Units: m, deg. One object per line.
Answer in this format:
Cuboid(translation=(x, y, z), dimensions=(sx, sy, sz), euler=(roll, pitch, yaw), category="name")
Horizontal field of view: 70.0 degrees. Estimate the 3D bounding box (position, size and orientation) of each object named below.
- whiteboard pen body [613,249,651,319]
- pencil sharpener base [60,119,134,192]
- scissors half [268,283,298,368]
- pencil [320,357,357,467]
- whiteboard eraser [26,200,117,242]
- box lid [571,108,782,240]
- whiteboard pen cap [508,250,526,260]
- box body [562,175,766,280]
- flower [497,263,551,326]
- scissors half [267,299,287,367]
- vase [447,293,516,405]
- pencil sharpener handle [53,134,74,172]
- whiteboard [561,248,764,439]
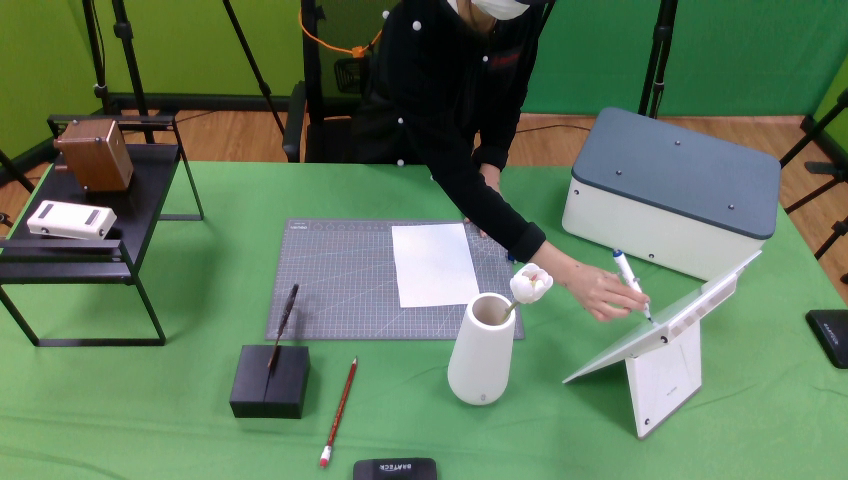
Cuboid(translation=(0.334, 0.073, 0.965), dimensions=(0.017, 0.141, 0.017), euler=(-28, 20, 11), category="whiteboard pen body")
Cuboid(translation=(-0.528, -0.135, 0.979), dimensions=(0.077, 0.107, 0.061), euler=(-4, 47, -7), category="pencil sharpener base")
Cuboid(translation=(-0.230, 0.135, 0.986), dimensions=(0.013, 0.040, 0.174), euler=(19, 43, -11), category="scissors half")
Cuboid(translation=(-0.130, 0.261, 0.947), dimensions=(0.012, 0.012, 0.193), euler=(10, 45, 5), category="pencil")
Cuboid(translation=(-0.532, -0.026, 0.919), dimensions=(0.113, 0.042, 0.055), euler=(7, 45, 3), category="whiteboard eraser")
Cuboid(translation=(0.491, -0.139, 1.168), dimensions=(0.370, 0.015, 0.262), euler=(21, 49, 15), category="box lid")
Cuboid(translation=(0.181, 0.029, 1.185), dimensions=(0.033, 0.018, 0.018), euler=(-4, 47, -14), category="whiteboard pen cap")
Cuboid(translation=(0.486, -0.088, 1.222), dimensions=(0.363, 0.161, 0.253), euler=(20, 48, 15), category="box body")
Cuboid(translation=(0.103, 0.121, 0.853), dimensions=(0.044, 0.363, 0.038), euler=(-1, 64, -9), category="flower")
Cuboid(translation=(-0.239, 0.150, 0.997), dimensions=(0.013, 0.040, 0.174), euler=(24, 24, -13), category="scissors half")
Cuboid(translation=(0.091, 0.169, 0.921), dimensions=(0.098, 0.201, 0.097), euler=(3, 47, -3), category="vase")
Cuboid(translation=(-0.577, -0.138, 0.961), dimensions=(0.031, 0.068, 0.036), euler=(-4, 34, -7), category="pencil sharpener handle")
Cuboid(translation=(0.386, 0.176, 0.905), dimensions=(0.217, 0.306, 0.143), euler=(-26, 72, -27), category="whiteboard")
